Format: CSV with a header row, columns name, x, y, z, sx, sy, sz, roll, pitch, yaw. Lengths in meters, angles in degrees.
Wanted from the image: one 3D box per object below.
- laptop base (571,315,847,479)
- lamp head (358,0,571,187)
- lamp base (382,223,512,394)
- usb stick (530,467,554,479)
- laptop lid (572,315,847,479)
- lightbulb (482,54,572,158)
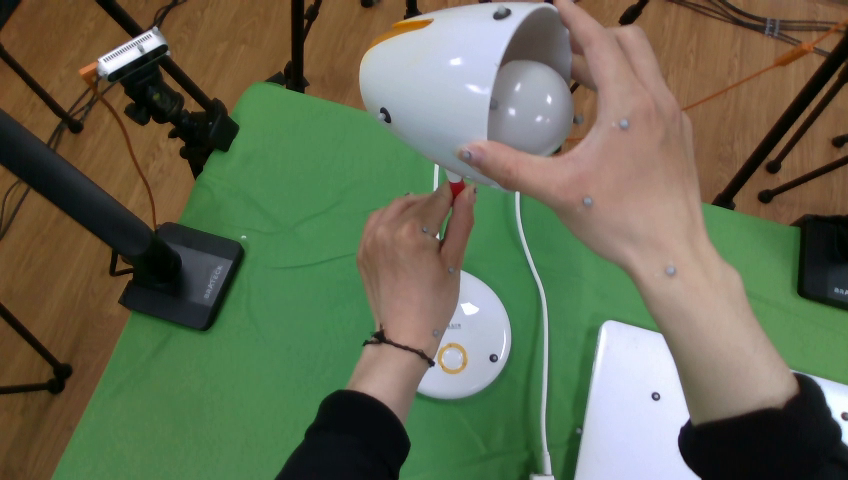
name,x,y,z,sx,sy,sz,roll,pitch,yaw
laptop base,0.361,0.243,0.714,0.354,0.023,0.234,15,71,4
lamp head,0.021,-0.098,0.394,0.122,0.113,0.112,16,65,35
lamp base,0.027,0.069,0.682,0.161,0.181,0.177,-13,67,-7
usb stick,0.134,0.288,0.683,0.027,0.021,0.059,2,77,-1
laptop lid,0.360,0.241,0.702,0.356,0.013,0.240,17,70,5
lightbulb,0.040,-0.089,0.373,0.107,0.060,0.059,29,69,30
